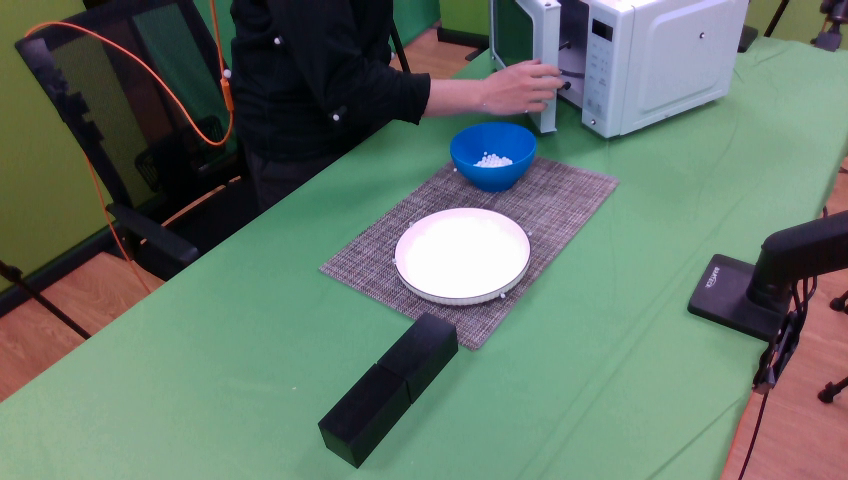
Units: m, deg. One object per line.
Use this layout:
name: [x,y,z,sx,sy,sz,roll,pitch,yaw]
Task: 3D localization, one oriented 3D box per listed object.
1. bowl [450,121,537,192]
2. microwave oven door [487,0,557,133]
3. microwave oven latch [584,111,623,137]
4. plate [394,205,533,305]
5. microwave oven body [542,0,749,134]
bowl: [0.123,-0.137,1.064,0.151,0.077,0.150,-4,40,4]
microwave oven door: [0.193,-0.408,1.223,0.039,0.245,0.353,-12,41,-6]
microwave oven latch: [0.337,-0.222,1.142,0.030,0.029,0.078,-21,42,-14]
plate: [0.059,0.025,0.915,0.207,0.039,0.206,-4,41,4]
microwave oven body: [0.382,-0.444,1.246,0.327,0.261,0.437,-22,42,-16]
